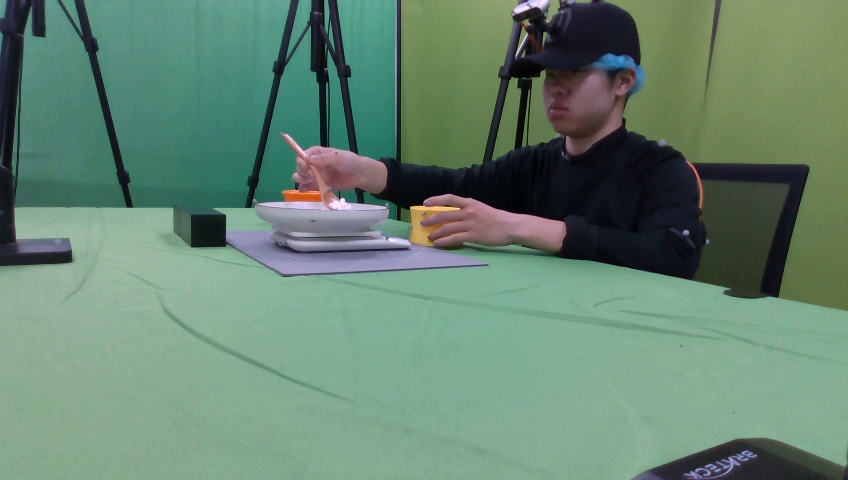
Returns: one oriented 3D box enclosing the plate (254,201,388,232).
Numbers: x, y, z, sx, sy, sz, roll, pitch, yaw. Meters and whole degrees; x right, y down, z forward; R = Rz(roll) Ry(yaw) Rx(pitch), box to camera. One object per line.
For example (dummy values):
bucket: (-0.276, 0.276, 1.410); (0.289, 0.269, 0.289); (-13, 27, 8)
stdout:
plate: (-0.161, -0.038, 0.961); (0.209, 0.038, 0.209); (2, 6, 0)

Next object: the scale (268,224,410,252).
scale: (-0.137, -0.006, 0.979); (0.202, 0.031, 0.148); (-1, 8, -30)

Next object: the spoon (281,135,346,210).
spoon: (-0.186, -0.111, 1.004); (0.042, 0.021, 0.193); (-6, 55, -51)

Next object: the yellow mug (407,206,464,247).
yellow mug: (0.026, -0.027, 1.104); (0.099, 0.064, 0.131); (7, 7, 20)
